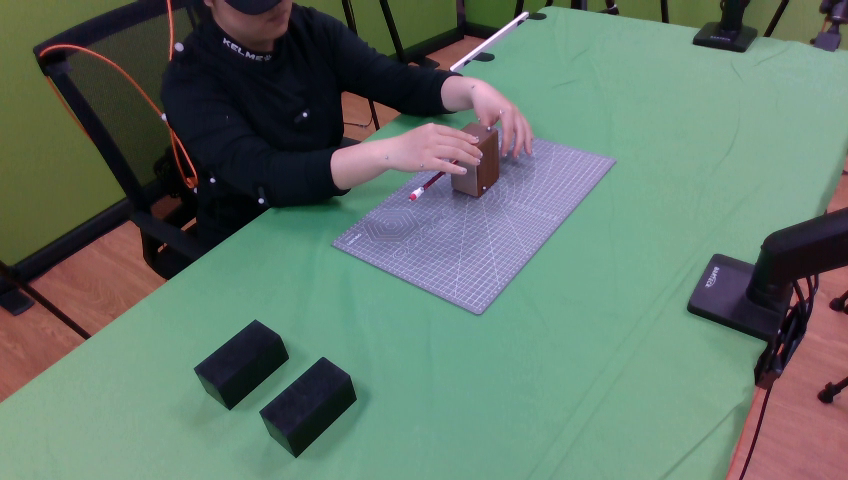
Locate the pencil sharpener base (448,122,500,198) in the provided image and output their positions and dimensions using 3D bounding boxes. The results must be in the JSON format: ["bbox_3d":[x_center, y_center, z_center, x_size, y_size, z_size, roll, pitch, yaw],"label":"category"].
[{"bbox_3d":[0.089,-0.139,1.051,0.061,0.107,0.077,21,48,30],"label":"pencil sharpener base"}]

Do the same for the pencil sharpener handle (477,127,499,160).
[{"bbox_3d":[0.119,-0.177,1.073,0.035,0.068,0.031,18,46,33],"label":"pencil sharpener handle"}]

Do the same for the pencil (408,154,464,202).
[{"bbox_3d":[0.036,-0.116,0.988,0.012,0.012,0.194,22,48,31],"label":"pencil"}]
